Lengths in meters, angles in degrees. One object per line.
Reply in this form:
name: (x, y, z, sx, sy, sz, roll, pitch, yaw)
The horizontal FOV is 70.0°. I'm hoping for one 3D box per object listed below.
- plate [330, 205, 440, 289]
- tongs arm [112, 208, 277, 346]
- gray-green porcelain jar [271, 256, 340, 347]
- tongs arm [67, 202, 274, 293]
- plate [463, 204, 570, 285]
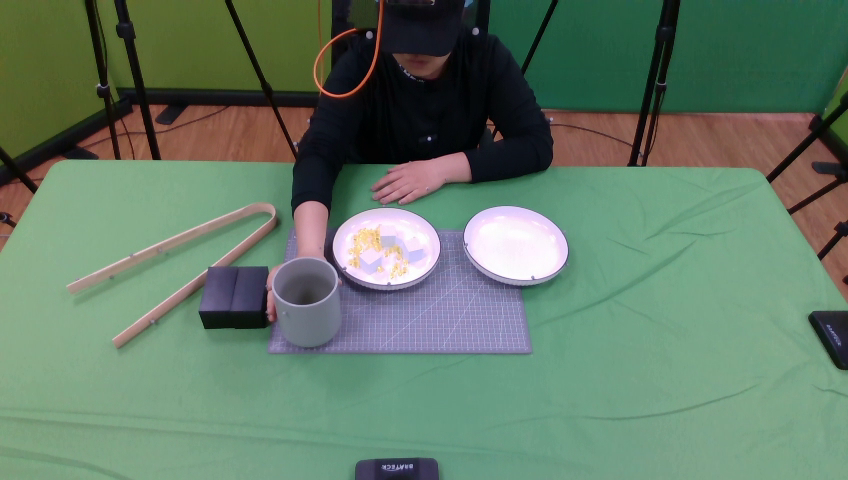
plate: (-0.074, 0.017, 1.161, 0.208, 0.039, 0.206, 2, 46, -2)
tongs arm: (-0.401, 0.058, 1.108, 0.028, 0.028, 0.387, 26, 49, 23)
gray-green porcelain jar: (-0.193, 0.107, 1.004, 0.106, 0.127, 0.105, 2, 46, -2)
tongs arm: (-0.461, 0.013, 1.142, 0.385, 0.026, 0.050, -31, 56, -31)
plate: (0.178, 0.012, 1.184, 0.209, 0.038, 0.208, 3, 46, -3)
